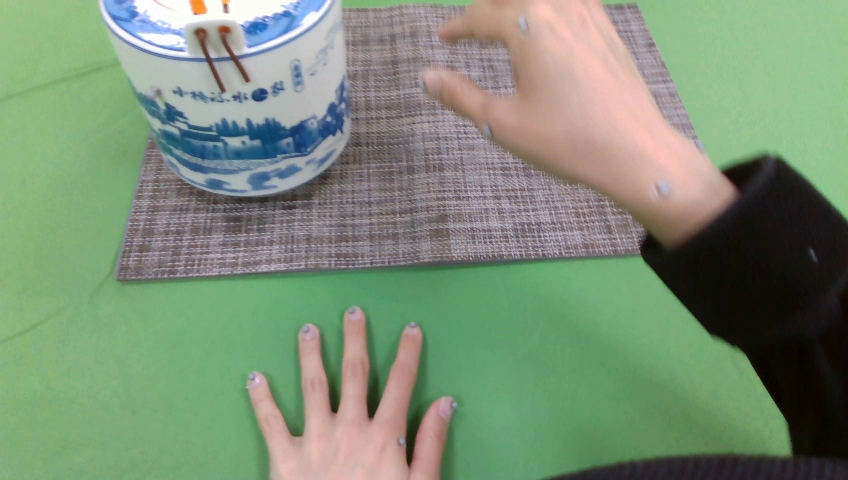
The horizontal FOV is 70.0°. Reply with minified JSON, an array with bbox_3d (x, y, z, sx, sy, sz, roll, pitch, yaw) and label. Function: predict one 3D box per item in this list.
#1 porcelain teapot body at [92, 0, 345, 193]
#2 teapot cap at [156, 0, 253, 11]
[{"bbox_3d":[-0.136,-0.168,0.408,0.145,0.227,0.203,-8,56,-8],"label":"porcelain teapot body"},{"bbox_3d":[-0.130,-0.168,0.361,0.085,0.044,0.084,1,57,-1],"label":"teapot cap"}]
